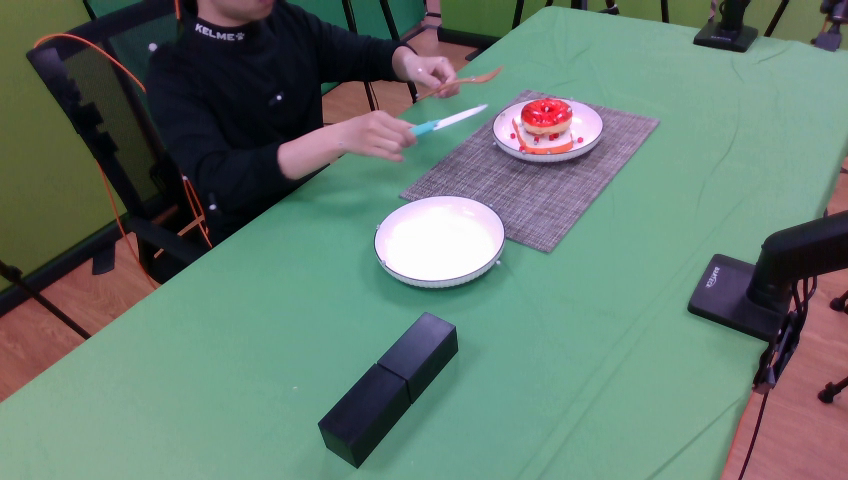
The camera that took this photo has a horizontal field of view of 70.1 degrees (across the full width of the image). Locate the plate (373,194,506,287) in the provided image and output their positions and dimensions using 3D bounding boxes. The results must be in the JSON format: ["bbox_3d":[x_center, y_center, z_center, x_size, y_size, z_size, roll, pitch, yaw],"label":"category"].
[{"bbox_3d":[0.025,0.003,0.951,0.207,0.039,0.206,-4,41,4],"label":"plate"}]

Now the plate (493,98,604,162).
[{"bbox_3d":[0.237,-0.206,1.158,0.209,0.038,0.208,-4,40,4],"label":"plate"}]

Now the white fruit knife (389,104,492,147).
[{"bbox_3d":[0.025,-0.195,1.020,0.206,0.016,0.027,-13,43,34],"label":"white fruit knife"}]

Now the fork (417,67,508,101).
[{"bbox_3d":[0.065,-0.284,1.111,0.206,0.018,0.028,-4,0,41],"label":"fork"}]

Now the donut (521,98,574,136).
[{"bbox_3d":[0.232,-0.232,1.135,0.099,0.048,0.098,-4,41,4],"label":"donut"}]

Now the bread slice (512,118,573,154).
[{"bbox_3d":[0.232,-0.204,1.160,0.105,0.019,0.131,-7,39,1],"label":"bread slice"}]
